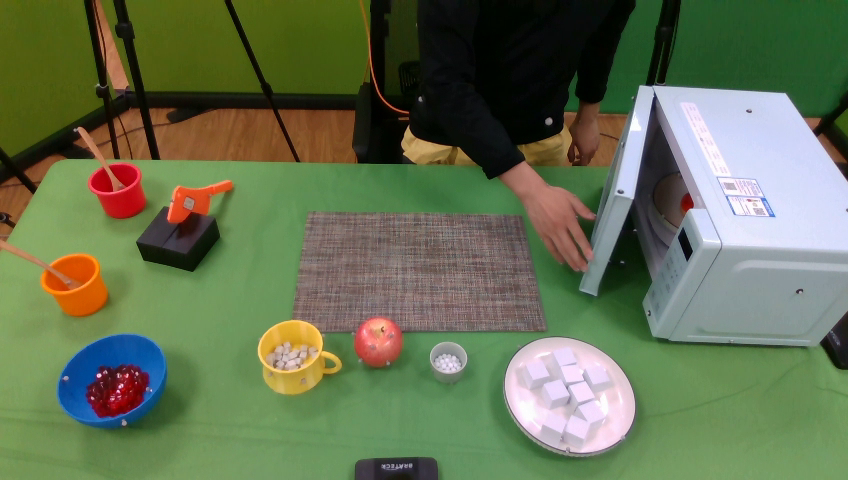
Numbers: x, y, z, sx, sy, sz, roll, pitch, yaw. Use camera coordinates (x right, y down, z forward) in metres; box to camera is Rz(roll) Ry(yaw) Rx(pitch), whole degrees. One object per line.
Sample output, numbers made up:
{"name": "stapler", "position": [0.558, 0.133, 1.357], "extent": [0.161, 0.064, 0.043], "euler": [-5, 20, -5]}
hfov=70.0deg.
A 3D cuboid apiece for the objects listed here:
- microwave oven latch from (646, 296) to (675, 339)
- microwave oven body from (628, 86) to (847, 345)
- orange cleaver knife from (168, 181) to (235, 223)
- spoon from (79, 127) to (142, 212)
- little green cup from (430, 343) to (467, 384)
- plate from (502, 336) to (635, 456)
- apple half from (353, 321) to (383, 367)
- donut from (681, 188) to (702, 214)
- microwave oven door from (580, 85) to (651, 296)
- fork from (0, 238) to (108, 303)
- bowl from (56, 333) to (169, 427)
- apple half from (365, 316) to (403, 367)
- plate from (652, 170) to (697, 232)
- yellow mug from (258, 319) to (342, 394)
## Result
{"name": "microwave oven latch", "position": [0.412, 0.134, 1.061], "extent": [0.030, 0.029, 0.078], "euler": [4, 45, 1]}
{"name": "microwave oven body", "position": [0.567, -0.053, 1.118], "extent": [0.326, 0.261, 0.439], "euler": [2, 45, -1]}
{"name": "orange cleaver knife", "position": [-0.436, -0.078, 1.196], "extent": [0.012, 0.077, 0.211], "euler": [16, 15, 10]}
{"name": "spoon", "position": [-0.624, -0.140, 1.203], "extent": [0.041, 0.021, 0.194], "euler": [-33, 100, -26]}
{"name": "little green cup", "position": [0.039, 0.203, 0.994], "extent": [0.061, 0.039, 0.061], "euler": [2, 46, -2]}
{"name": "plate", "position": [0.225, 0.248, 0.963], "extent": [0.208, 0.039, 0.206], "euler": [2, 46, -2]}
{"name": "apple half", "position": [-0.097, 0.177, 0.984], "extent": [0.033, 0.081, 0.081], "euler": [-16, 49, -25]}
{"name": "donut", "position": [0.552, -0.065, 1.183], "extent": [0.099, 0.048, 0.098], "euler": [3, 44, -2]}
{"name": "microwave oven door", "position": [0.368, -0.103, 1.146], "extent": [0.039, 0.245, 0.354], "euler": [17, 47, 12]}
{"name": "fork", "position": [-0.633, 0.048, 1.017], "extent": [0.208, 0.018, 0.028], "euler": [40, 43, -27]}
{"name": "bowl", "position": [-0.456, 0.223, 0.912], "extent": [0.151, 0.077, 0.150], "euler": [3, 45, -2]}
{"name": "apple half", "position": [-0.063, 0.165, 1.000], "extent": [0.053, 0.075, 0.080], "euler": [-16, 45, -24]}
{"name": "plate", "position": [0.555, -0.059, 1.197], "extent": [0.209, 0.038, 0.208], "euler": [2, 46, -2]}
{"name": "yellow mug", "position": [-0.195, 0.188, 0.972], "extent": [0.131, 0.064, 0.099], "euler": [9, 47, 4]}
